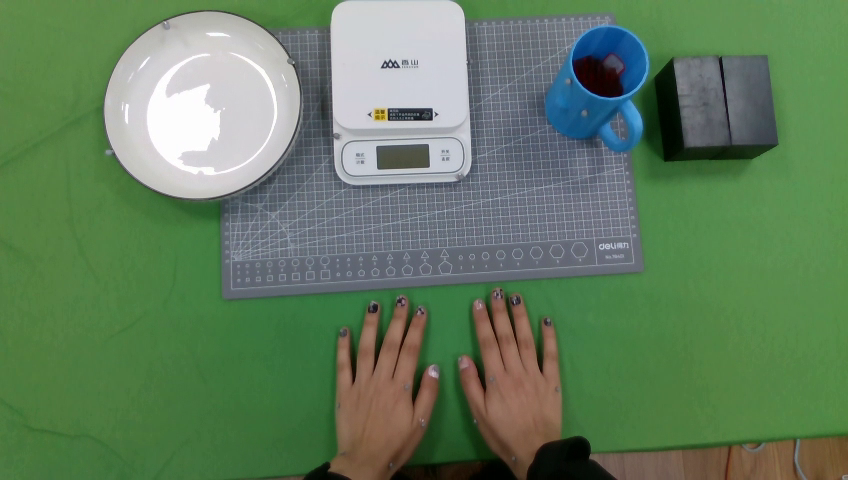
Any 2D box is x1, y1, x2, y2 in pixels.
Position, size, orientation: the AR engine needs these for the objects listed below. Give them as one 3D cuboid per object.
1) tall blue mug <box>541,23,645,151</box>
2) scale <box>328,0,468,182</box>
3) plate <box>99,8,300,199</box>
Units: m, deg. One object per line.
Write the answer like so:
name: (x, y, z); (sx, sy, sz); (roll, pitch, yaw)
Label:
tall blue mug: (0.183, -0.152, 0.625); (0.107, 0.108, 0.077); (33, 81, 3)
scale: (-0.029, -0.164, 0.659); (0.149, 0.031, 0.200); (-2, 83, -2)
plate: (-0.233, -0.142, 0.646); (0.209, 0.038, 0.208); (0, 82, 0)
